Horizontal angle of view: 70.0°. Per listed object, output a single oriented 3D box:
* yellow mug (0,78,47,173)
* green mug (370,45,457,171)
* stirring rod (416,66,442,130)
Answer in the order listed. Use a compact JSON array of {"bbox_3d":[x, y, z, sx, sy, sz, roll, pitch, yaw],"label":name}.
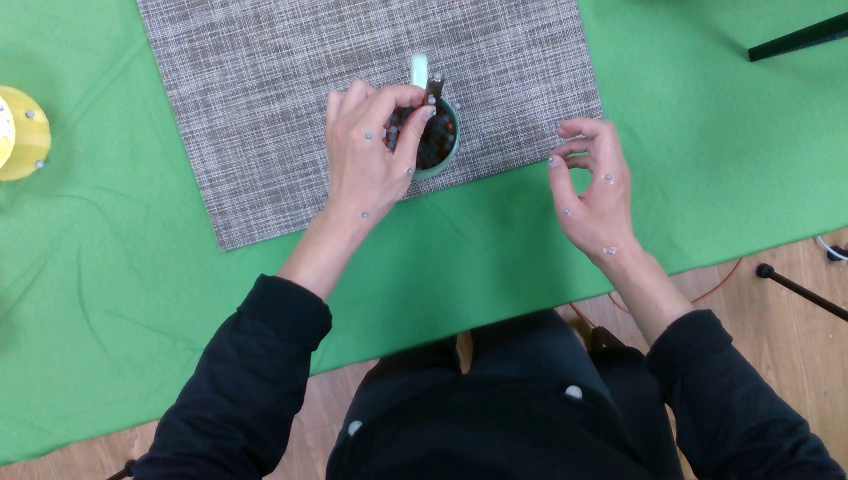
[{"bbox_3d":[-0.454,-0.102,0.612,0.100,0.064,0.131,16,97,-6],"label":"yellow mug"},{"bbox_3d":[-0.010,-0.133,0.613,0.092,0.104,0.125,0,97,-3],"label":"green mug"},{"bbox_3d":[0.003,-0.126,0.555,0.014,0.176,0.006,-18,87,-4],"label":"stirring rod"}]
